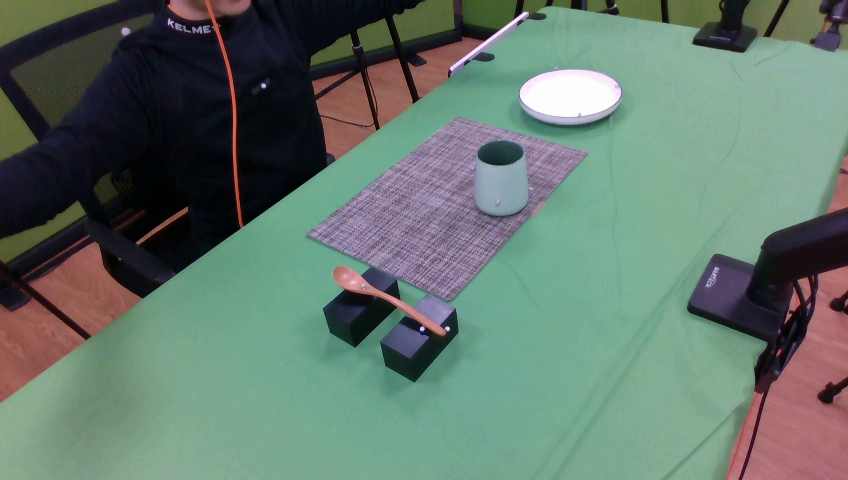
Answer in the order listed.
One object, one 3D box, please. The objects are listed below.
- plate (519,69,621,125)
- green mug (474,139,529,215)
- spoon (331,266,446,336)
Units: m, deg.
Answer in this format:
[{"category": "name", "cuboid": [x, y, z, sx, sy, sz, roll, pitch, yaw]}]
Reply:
[{"category": "plate", "cuboid": [0.300, -0.293, 1.253, 0.209, 0.038, 0.208, -4, 41, 4]}, {"category": "green mug", "cuboid": [0.126, -0.113, 1.013, 0.092, 0.105, 0.124, -8, 41, 0]}, {"category": "spoon", "cuboid": [-0.050, 0.080, 0.806, 0.192, 0.021, 0.042, 24, 28, 30]}]
